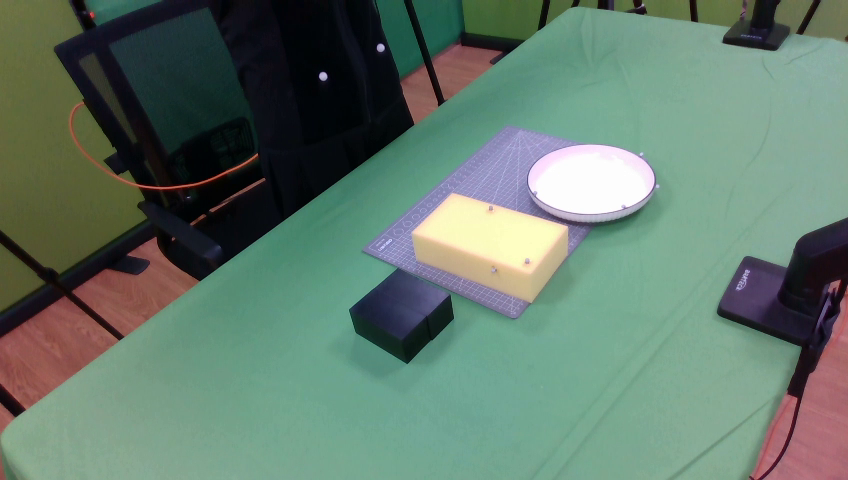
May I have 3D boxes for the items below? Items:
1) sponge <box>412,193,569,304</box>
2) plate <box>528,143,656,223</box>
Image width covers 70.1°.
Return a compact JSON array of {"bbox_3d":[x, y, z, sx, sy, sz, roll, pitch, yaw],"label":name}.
[{"bbox_3d":[0.101,0.007,0.922,0.205,0.061,0.118,19,48,29],"label":"sponge"},{"bbox_3d":[0.281,-0.093,1.023,0.209,0.038,0.208,-5,40,5],"label":"plate"}]
